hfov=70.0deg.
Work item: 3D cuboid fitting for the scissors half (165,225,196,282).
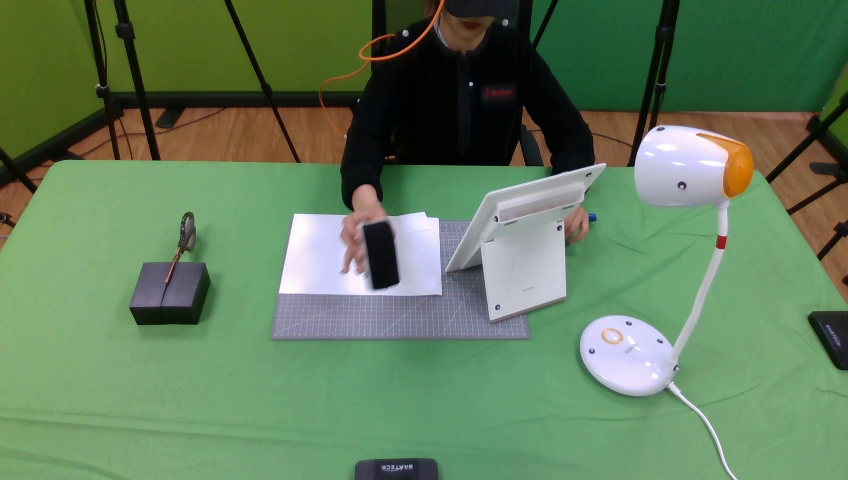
[{"bbox_3d":[-0.444,0.025,1.107,0.013,0.040,0.174,4,30,-5],"label":"scissors half"}]

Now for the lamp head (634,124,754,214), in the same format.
[{"bbox_3d":[0.351,-0.089,0.776,0.112,0.113,0.122,-30,30,-28],"label":"lamp head"}]

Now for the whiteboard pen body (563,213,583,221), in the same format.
[{"bbox_3d":[0.282,-0.047,1.259,0.141,0.017,0.017,-1,46,-4],"label":"whiteboard pen body"}]

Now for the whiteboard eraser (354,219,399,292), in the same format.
[{"bbox_3d":[-0.075,0.025,0.983,0.056,0.113,0.041,-14,7,-31],"label":"whiteboard eraser"}]

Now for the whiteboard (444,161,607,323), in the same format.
[{"bbox_3d":[0.186,0.025,1.029,0.217,0.306,0.143,-14,68,-18],"label":"whiteboard"}]

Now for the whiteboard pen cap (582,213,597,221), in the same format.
[{"bbox_3d":[0.342,-0.047,1.260,0.033,0.018,0.018,-3,46,-3],"label":"whiteboard pen cap"}]

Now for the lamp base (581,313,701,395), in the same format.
[{"bbox_3d":[0.361,0.144,0.973,0.178,0.181,0.160,34,53,23],"label":"lamp base"}]

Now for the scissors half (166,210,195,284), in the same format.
[{"bbox_3d":[-0.440,0.010,1.094,0.013,0.040,0.174,8,49,-9],"label":"scissors half"}]
